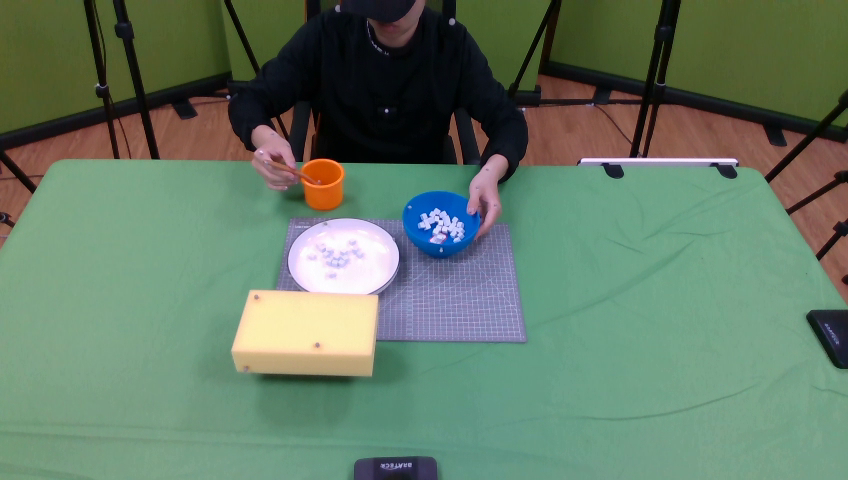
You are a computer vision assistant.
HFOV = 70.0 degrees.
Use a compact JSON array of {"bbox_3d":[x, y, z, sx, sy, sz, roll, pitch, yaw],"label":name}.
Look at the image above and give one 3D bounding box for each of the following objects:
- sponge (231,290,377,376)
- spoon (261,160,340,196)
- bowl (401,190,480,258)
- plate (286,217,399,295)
[{"bbox_3d":[-0.180,0.144,0.949,0.207,0.061,0.117,2,46,-2],"label":"sponge"},{"bbox_3d":[-0.244,-0.126,1.213,0.021,0.195,0.041,-48,50,13],"label":"spoon"},{"bbox_3d":[0.029,-0.018,1.175,0.151,0.077,0.150,3,46,-3],"label":"bowl"},{"bbox_3d":[-0.150,0.041,1.131,0.209,0.038,0.208,2,46,-2],"label":"plate"}]
